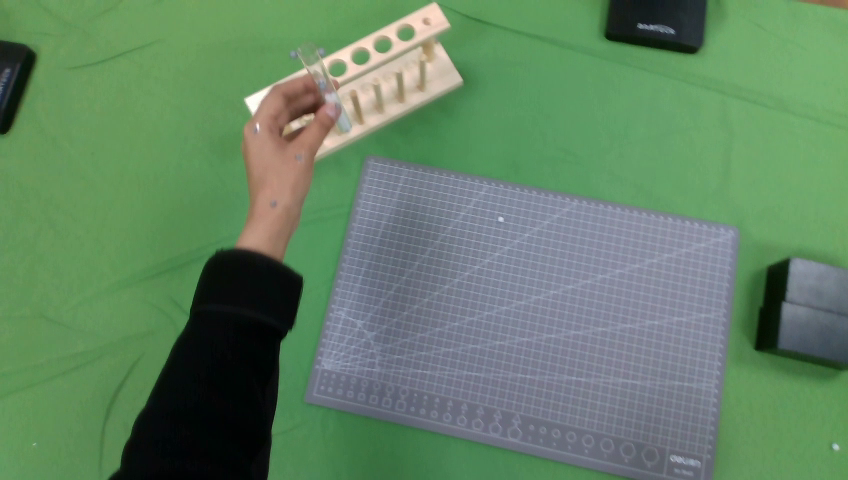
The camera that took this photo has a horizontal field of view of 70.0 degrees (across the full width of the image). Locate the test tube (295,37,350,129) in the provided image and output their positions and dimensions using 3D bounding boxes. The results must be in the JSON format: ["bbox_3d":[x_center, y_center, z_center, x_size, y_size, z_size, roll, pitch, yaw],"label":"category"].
[{"bbox_3d":[-0.088,-0.136,0.549,0.017,0.151,0.017,-1,76,5],"label":"test tube"}]

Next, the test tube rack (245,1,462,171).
[{"bbox_3d":[-0.076,-0.177,0.712,0.242,0.085,0.066,-28,78,-5],"label":"test tube rack"}]
